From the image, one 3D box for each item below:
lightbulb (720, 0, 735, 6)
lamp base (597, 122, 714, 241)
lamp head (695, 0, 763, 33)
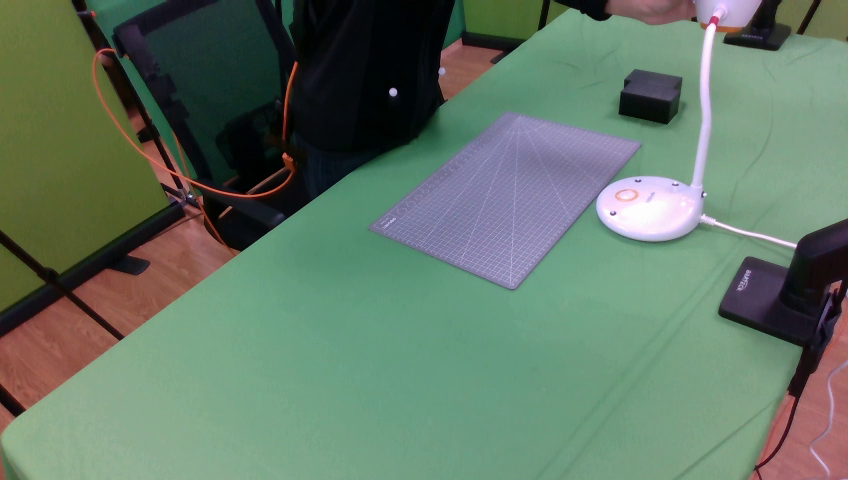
[{"bbox_3d":[0.442,-0.391,0.860,0.059,0.108,0.059,-1,29,1],"label":"lightbulb"},{"bbox_3d":[0.364,-0.109,0.921,0.178,0.181,0.160,14,45,21],"label":"lamp base"},{"bbox_3d":[0.441,-0.361,0.870,0.112,0.123,0.112,2,28,-1],"label":"lamp head"}]
